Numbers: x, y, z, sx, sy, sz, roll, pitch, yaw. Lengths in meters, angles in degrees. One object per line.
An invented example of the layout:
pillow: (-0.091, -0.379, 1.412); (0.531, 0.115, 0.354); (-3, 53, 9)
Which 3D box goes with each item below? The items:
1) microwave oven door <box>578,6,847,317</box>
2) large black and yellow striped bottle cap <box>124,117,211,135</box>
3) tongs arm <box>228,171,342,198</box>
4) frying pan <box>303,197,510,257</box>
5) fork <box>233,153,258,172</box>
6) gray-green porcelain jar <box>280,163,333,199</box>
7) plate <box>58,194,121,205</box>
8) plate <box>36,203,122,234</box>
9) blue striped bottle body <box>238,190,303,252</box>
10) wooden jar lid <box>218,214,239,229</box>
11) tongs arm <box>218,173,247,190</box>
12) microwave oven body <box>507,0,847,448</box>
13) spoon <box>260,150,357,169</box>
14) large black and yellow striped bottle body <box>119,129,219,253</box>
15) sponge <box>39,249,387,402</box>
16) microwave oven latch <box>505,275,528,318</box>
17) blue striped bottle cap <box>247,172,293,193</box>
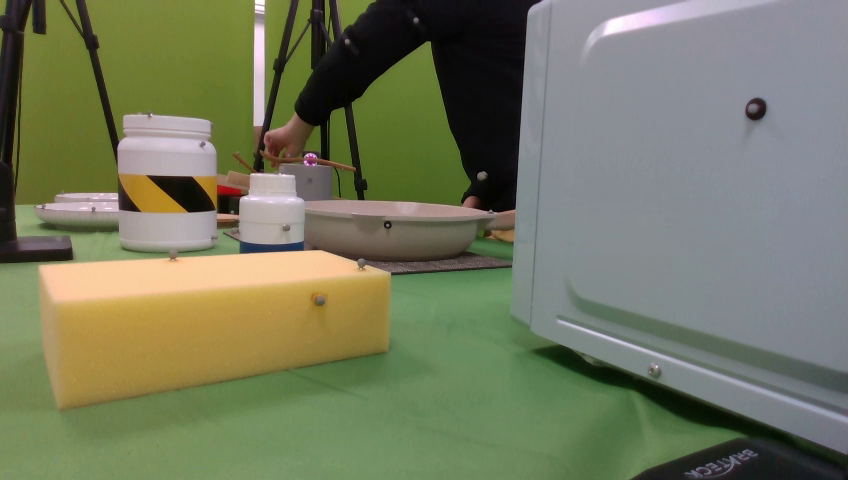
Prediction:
microwave oven door: (0.294, -0.067, 0.570); (0.358, 0.243, 0.039); (-3, 9, -31)
large black and yellow striped bottle cap: (-0.366, -0.163, 0.866); (0.115, 0.019, 0.115); (3, 7, 0)
tongs arm: (-0.267, -0.103, 1.378); (0.387, 0.026, 0.050); (11, -3, -40)
frying pan: (0.050, -0.035, 0.915); (0.487, 0.102, 0.307); (-5, 7, 11)
fork: (-0.396, -0.143, 1.486); (0.028, 0.018, 0.208); (20, -26, 45)
gray-green porcelain jar: (-0.238, -0.091, 1.221); (0.106, 0.126, 0.106); (2, 7, 0)
plate: (-0.671, -0.074, 1.310); (0.209, 0.038, 0.209); (2, 8, 0)
plate: (-0.571, -0.040, 1.083); (0.208, 0.039, 0.207); (2, 8, 0)
blue striped bottle body: (-0.153, -0.007, 0.605); (0.063, 0.120, 0.063); (2, 7, 0)
wooden jar lid: (-0.404, -0.037, 1.169); (0.108, 0.020, 0.108); (3, 7, 0)
tongs arm: (-0.315, -0.111, 1.448); (0.389, 0.027, 0.028); (11, -7, -26)
microwave oven body: (0.331, -0.042, 0.425); (0.444, 0.260, 0.324); (-2, 8, -31)
spoon: (-0.231, -0.161, 1.221); (0.194, 0.021, 0.041); (3, 4, -15)
large black and yellow striped bottle body: (-0.367, -0.079, 0.876); (0.131, 0.184, 0.130); (1, 7, 0)
sponge: (-0.142, 0.047, 0.420); (0.208, 0.061, 0.117); (-3, 8, -36)
microwave oven latch: (0.100, 0.041, 0.472); (0.079, 0.029, 0.030); (-2, 8, -29)
blue striped bottle cap: (-0.152, -0.057, 0.598); (0.044, 0.020, 0.044); (3, 7, 0)
